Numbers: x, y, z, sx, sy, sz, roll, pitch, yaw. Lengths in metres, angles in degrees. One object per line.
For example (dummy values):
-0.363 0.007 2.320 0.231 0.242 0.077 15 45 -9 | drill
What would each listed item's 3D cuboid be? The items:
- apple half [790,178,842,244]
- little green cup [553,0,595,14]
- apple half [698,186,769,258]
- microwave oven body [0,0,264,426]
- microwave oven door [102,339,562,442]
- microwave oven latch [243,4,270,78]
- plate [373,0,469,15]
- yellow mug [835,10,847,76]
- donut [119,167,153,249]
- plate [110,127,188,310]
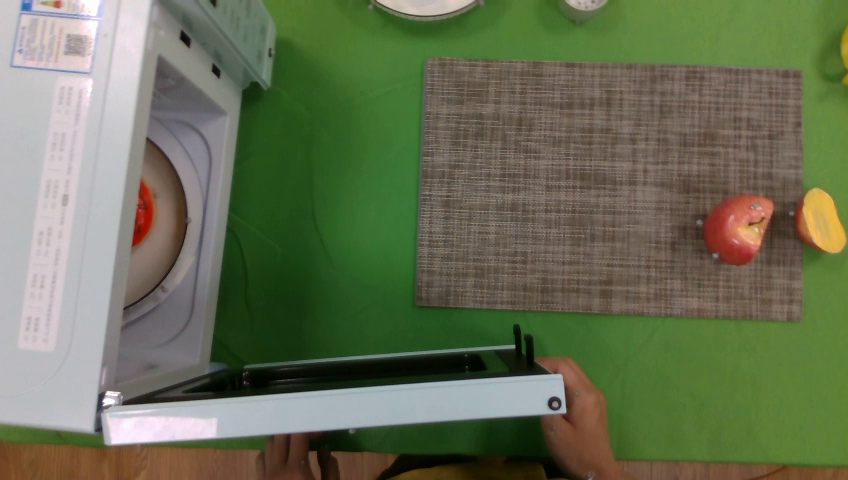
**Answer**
0.439 -0.029 0.693 0.082 0.033 0.081 9 71 -28 | apple half
0.181 -0.302 0.720 0.061 0.039 0.061 0 86 1 | little green cup
0.338 -0.024 0.678 0.053 0.075 0.081 21 90 7 | apple half
-0.363 -0.075 0.599 0.326 0.260 0.441 5 87 1 | microwave oven body
-0.067 0.134 0.576 0.356 0.244 0.039 -5 85 1 | microwave oven door
-0.198 -0.231 0.702 0.030 0.029 0.079 6 87 1 | microwave oven latch
-0.002 -0.367 0.727 0.208 0.039 0.207 0 86 1 | plate
0.532 -0.234 0.695 0.131 0.064 0.100 -40 86 -1 | yellow mug
-0.336 -0.036 0.638 0.099 0.048 0.099 0 89 1 | donut
-0.354 -0.026 0.648 0.209 0.038 0.208 0 86 0 | plate
